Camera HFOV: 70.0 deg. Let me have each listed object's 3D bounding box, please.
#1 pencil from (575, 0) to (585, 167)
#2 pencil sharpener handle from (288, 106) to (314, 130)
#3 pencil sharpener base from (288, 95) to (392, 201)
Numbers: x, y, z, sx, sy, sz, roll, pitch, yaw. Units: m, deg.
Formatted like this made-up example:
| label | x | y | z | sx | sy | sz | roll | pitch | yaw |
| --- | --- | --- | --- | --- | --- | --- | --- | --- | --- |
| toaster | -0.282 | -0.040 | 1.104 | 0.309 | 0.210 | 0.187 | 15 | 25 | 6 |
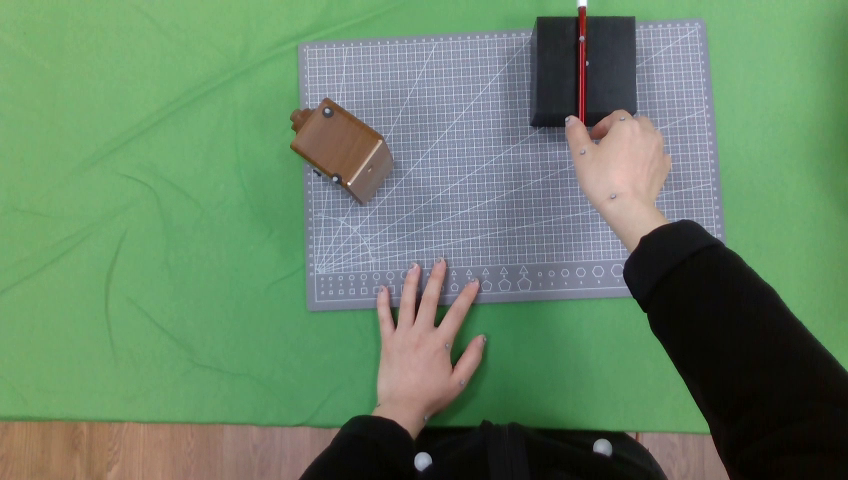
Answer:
| label | x | y | z | sx | sy | sz | roll | pitch | yaw |
| --- | --- | --- | --- | --- | --- | --- | --- | --- | --- |
| pencil | 0.158 | -0.170 | 0.612 | 0.012 | 0.012 | 0.193 | 1 | 86 | 2 |
| pencil sharpener handle | -0.127 | -0.120 | 0.605 | 0.030 | 0.068 | 0.036 | 36 | 79 | 6 |
| pencil sharpener base | -0.083 | -0.090 | 0.613 | 0.076 | 0.107 | 0.061 | 36 | 87 | 5 |
